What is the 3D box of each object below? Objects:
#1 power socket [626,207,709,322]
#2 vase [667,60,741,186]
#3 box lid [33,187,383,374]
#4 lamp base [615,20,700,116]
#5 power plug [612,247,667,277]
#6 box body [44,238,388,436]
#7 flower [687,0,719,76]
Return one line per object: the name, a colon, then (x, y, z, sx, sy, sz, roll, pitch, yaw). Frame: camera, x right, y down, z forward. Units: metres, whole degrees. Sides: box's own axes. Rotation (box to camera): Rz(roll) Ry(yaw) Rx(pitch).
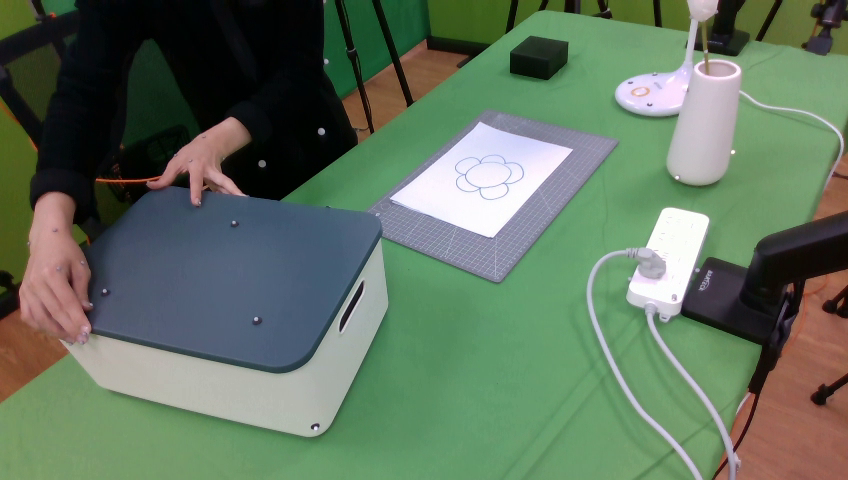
power socket: (0.360, 0.026, 0.886, 0.072, 0.033, 0.227, 17, 46, 27)
vase: (0.463, -0.189, 0.994, 0.098, 0.201, 0.097, -4, 40, 4)
box lid: (-0.257, 0.032, 0.750, 0.370, 0.015, 0.263, 8, 43, 16)
lamp base: (0.484, -0.364, 1.211, 0.180, 0.181, 0.159, -15, 41, -14)
power plug: (0.306, 0.031, 0.852, 0.072, 0.053, 0.035, 21, 48, 37)
box body: (-0.251, 0.088, 0.799, 0.362, 0.161, 0.254, 7, 42, 16)
flower: (0.436, -0.242, 0.934, 0.038, 0.364, 0.043, -24, 49, 8)
